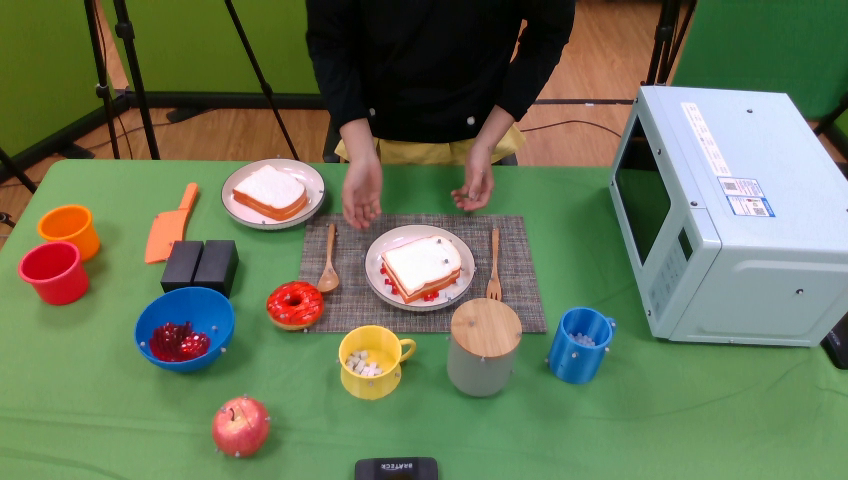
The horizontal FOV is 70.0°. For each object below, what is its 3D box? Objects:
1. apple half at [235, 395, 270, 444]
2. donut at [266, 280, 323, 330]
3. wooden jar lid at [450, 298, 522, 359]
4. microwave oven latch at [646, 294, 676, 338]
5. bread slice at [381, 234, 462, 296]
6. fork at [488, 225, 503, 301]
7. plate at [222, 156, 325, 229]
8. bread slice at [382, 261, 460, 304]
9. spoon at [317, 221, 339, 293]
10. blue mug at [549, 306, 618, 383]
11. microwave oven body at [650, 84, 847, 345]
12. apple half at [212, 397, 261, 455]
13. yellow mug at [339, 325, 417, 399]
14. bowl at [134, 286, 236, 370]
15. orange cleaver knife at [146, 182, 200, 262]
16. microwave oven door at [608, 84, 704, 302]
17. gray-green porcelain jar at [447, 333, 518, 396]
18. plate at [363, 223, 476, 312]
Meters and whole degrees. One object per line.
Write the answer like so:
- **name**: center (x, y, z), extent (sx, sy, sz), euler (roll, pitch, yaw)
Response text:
- **apple half**: center (-0.245, 0.260, 0.893), extent (0.033, 0.082, 0.081), euler (-29, 55, -22)
- **donut**: center (-0.223, 0.113, 1.051), extent (0.099, 0.048, 0.098), euler (2, 46, -2)
- **wooden jar lid**: center (0.093, 0.135, 0.914), extent (0.108, 0.021, 0.107), euler (3, 48, -3)
- **microwave oven latch**: center (0.412, 0.133, 1.060), extent (0.030, 0.029, 0.078), euler (3, 46, 0)
- **bread slice**: center (0.001, 0.038, 1.107), extent (0.134, 0.018, 0.106), euler (-25, 56, -23)
- **fork**: center (0.138, 0.042, 1.160), extent (0.028, 0.019, 0.206), euler (1, 47, 8)
- **plate**: center (-0.308, -0.094, 1.251), extent (0.209, 0.038, 0.208), euler (2, 46, -2)
- **bread slice**: center (0.000, 0.055, 1.129), extent (0.131, 0.019, 0.104), euler (-22, 51, -21)
- **spoon**: center (-0.178, 0.028, 1.149), extent (0.041, 0.022, 0.192), euler (-17, 45, 13)
- **blue mug**: center (0.269, 0.167, 0.997), extent (0.116, 0.106, 0.082), euler (-19, 50, -21)
- **microwave oven body**: center (0.569, -0.054, 1.116), extent (0.326, 0.261, 0.439), euler (2, 46, -1)
- **apple half**: center (-0.276, 0.277, 0.877), extent (0.053, 0.075, 0.080), euler (-29, 58, -21)
- **yellow mug**: center (-0.072, 0.191, 0.978), extent (0.131, 0.064, 0.099), euler (-17, 49, -20)
- **bowl**: center (-0.377, 0.156, 0.981), extent (0.151, 0.077, 0.150), euler (2, 46, -2)
- **orange cleaver knife**: center (-0.494, -0.039, 1.198), extent (0.077, 0.012, 0.210), euler (-3, 48, 2)
- **microwave oven door**: center (0.424, -0.096, 1.138), extent (0.039, 0.245, 0.353), euler (3, 46, -1)
- **gray-green porcelain jar**: center (0.091, 0.178, 0.960), extent (0.106, 0.127, 0.105), euler (2, 46, -2)
- **plate**: center (-0.009, 0.054, 1.126), extent (0.208, 0.039, 0.206), euler (2, 46, -2)
